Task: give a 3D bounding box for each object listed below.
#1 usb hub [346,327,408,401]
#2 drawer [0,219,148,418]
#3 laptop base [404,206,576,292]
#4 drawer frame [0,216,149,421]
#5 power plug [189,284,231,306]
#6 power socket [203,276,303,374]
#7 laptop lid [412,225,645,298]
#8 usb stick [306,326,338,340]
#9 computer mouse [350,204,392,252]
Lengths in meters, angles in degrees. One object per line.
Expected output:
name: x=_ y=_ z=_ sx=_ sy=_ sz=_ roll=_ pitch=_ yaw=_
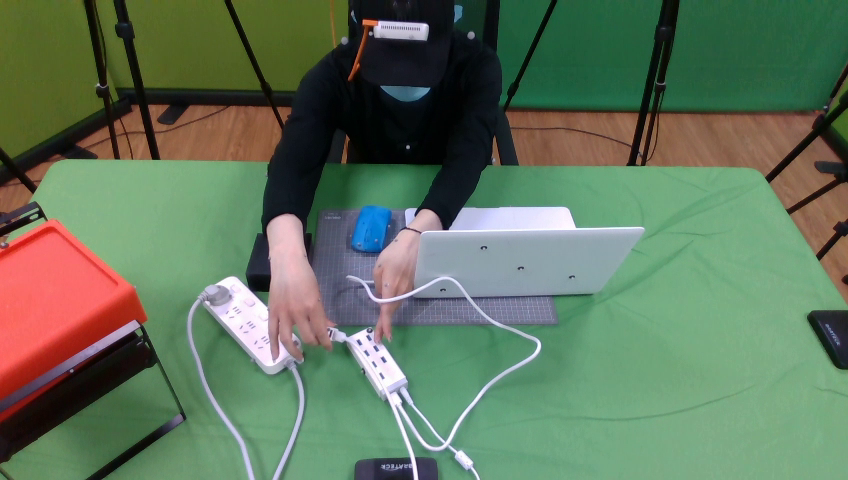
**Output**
usb hub: x=-0.078 y=0.202 z=0.998 sx=0.049 sy=0.025 sz=0.124 roll=-23 pitch=52 yaw=-24
drawer: x=-0.509 y=0.093 z=0.783 sx=0.193 sy=0.073 sz=0.211 roll=32 pitch=53 yaw=24
laptop base: x=0.143 y=0.018 z=1.196 sx=0.355 sy=0.023 sz=0.234 roll=-1 pitch=43 yaw=-6
drawer frame: x=-0.510 y=0.093 z=0.780 sx=0.201 sy=0.083 sz=0.213 roll=31 pitch=52 yaw=23
power plug: x=-0.367 y=0.100 z=1.037 sx=0.072 sy=0.053 sz=0.035 roll=-24 pitch=54 yaw=-27
power socket: x=-0.296 y=0.141 z=1.034 sx=0.072 sy=0.033 sz=0.225 roll=-34 pitch=58 yaw=-30
laptop lid: x=0.161 y=0.042 z=1.012 sx=0.357 sy=0.242 sz=0.013 roll=0 pitch=60 yaw=-7
usb stick: x=-0.172 y=0.152 z=0.990 sx=0.059 sy=0.027 sz=0.021 roll=-3 pitch=77 yaw=27
computer mouse: x=-0.104 y=-0.027 z=1.202 sx=0.063 sy=0.041 sz=0.116 roll=11 pitch=51 yaw=3
